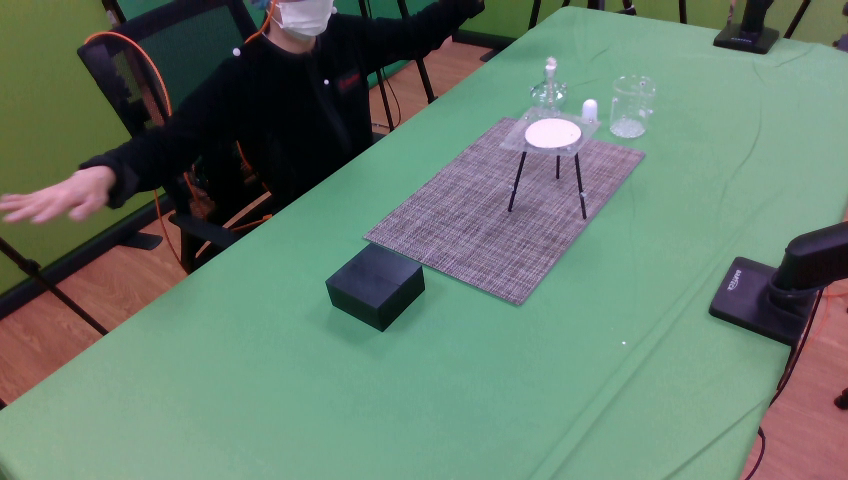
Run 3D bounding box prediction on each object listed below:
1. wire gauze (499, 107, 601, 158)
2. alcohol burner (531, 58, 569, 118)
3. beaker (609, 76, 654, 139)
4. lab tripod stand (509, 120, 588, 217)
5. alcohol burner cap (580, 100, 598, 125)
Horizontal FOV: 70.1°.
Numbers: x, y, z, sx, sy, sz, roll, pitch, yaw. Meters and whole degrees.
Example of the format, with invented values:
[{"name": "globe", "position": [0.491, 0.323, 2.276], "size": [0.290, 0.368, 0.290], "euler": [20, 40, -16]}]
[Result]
[{"name": "wire gauze", "position": [0.198, -0.168, 0.943], "size": [0.120, 0.011, 0.125], "euler": [17, 47, 27]}, {"name": "alcohol burner", "position": [0.255, -0.311, 1.227], "size": [0.078, 0.119, 0.077], "euler": [-6, 41, 6]}, {"name": "beaker", "position": [0.393, -0.248, 1.144], "size": [0.074, 0.101, 0.083], "euler": [-32, 47, -24]}, {"name": "lab tripod stand", "position": [0.208, -0.114, 0.983], "size": [0.148, 0.132, 0.147], "euler": [-5, 42, 5]}, {"name": "alcohol burner cap", "position": [0.331, -0.258, 1.210], "size": [0.034, 0.048, 0.033], "euler": [-5, 41, 4]}]
